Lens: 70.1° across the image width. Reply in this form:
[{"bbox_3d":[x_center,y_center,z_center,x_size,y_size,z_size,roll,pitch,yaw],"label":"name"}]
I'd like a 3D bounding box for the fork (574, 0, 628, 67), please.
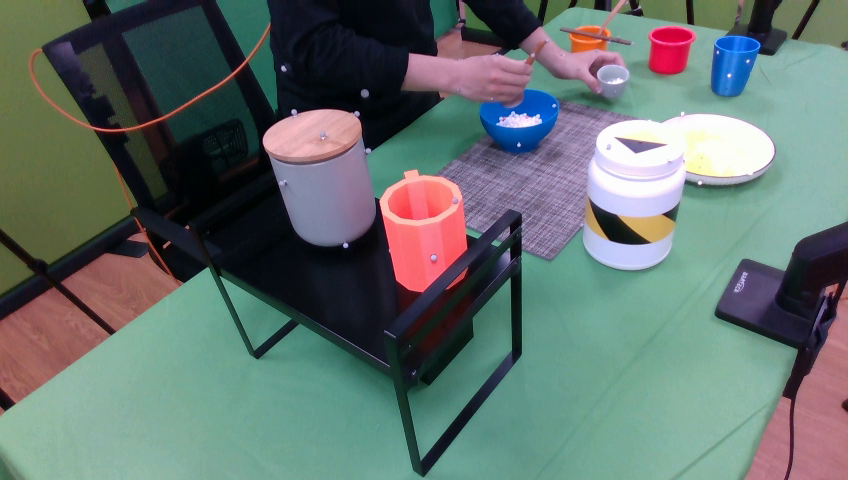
[{"bbox_3d":[0.413,-0.481,1.377,0.207,0.019,0.028,-56,43,12],"label":"fork"}]

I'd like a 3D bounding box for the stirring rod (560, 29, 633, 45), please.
[{"bbox_3d":[0.381,-0.452,1.344,0.174,0.006,0.014,25,49,33],"label":"stirring rod"}]

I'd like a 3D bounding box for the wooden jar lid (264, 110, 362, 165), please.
[{"bbox_3d":[-0.122,-0.112,0.673,0.108,0.021,0.108,-4,37,4],"label":"wooden jar lid"}]

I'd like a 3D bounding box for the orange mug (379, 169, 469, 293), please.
[{"bbox_3d":[-0.002,-0.019,0.665,0.083,0.101,0.125,-12,45,-4],"label":"orange mug"}]

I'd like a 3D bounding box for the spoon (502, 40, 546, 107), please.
[{"bbox_3d":[0.172,-0.282,1.040,0.042,0.194,0.021,-8,69,-11],"label":"spoon"}]

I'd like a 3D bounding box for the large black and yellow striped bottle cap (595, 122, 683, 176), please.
[{"bbox_3d":[0.293,-0.126,0.826,0.115,0.019,0.114,-3,40,3],"label":"large black and yellow striped bottle cap"}]

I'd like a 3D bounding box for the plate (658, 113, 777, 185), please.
[{"bbox_3d":[0.506,-0.158,1.073,0.209,0.038,0.208,-4,40,4],"label":"plate"}]

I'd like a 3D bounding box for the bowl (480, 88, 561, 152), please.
[{"bbox_3d":[0.185,-0.222,1.160,0.151,0.077,0.150,-4,40,4],"label":"bowl"}]

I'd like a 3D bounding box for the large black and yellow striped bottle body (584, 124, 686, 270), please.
[{"bbox_3d":[0.304,-0.063,0.880,0.131,0.185,0.130,-5,41,5],"label":"large black and yellow striped bottle body"}]

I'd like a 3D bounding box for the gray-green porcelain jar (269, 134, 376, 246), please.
[{"bbox_3d":[-0.115,-0.064,0.715,0.106,0.127,0.105,-4,40,4],"label":"gray-green porcelain jar"}]

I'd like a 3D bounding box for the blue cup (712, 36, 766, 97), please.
[{"bbox_3d":[0.627,-0.350,1.227,0.092,0.100,0.092,-4,39,4],"label":"blue cup"}]

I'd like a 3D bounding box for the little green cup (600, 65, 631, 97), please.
[{"bbox_3d":[0.387,-0.320,1.227,0.061,0.039,0.061,-3,50,4],"label":"little green cup"}]
